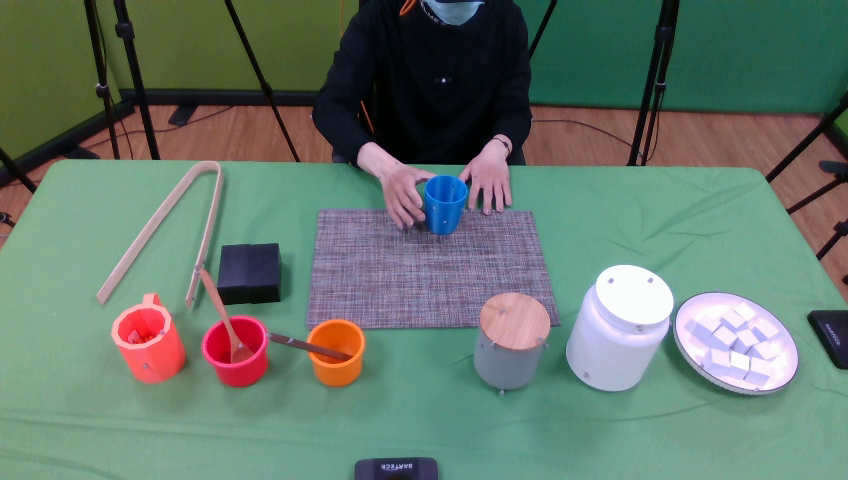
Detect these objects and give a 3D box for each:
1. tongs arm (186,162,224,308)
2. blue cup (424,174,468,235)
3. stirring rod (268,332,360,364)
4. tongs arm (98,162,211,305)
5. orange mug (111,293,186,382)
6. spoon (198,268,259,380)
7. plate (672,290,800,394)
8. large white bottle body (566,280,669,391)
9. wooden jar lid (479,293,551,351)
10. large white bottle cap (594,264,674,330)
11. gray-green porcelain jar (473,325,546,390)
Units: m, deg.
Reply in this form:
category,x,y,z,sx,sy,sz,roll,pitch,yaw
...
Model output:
category,x,y,z,sx,sy,sz,roll,pitch,yaw
tongs arm,-0.435,-0.025,1.181,0.051,0.027,0.382,-3,45,1
blue cup,0.039,-0.065,1.201,0.093,0.101,0.092,3,46,-3
stirring rod,-0.167,0.169,0.942,0.177,0.006,0.014,27,25,-41
tongs arm,-0.519,-0.027,1.184,0.028,0.028,0.385,5,45,13
orange mug,-0.435,0.149,0.969,0.083,0.101,0.125,-5,51,-9
spoon,-0.312,0.132,0.962,0.041,0.021,0.194,-24,96,-22
plate,0.533,0.178,1.050,0.208,0.039,0.206,2,46,-2
large white bottle body,0.310,0.142,0.968,0.131,0.185,0.130,2,46,-2
wooden jar lid,0.137,0.127,0.925,0.108,0.021,0.107,1,47,-1
large white bottle cap,0.314,0.083,0.906,0.115,0.018,0.114,2,46,-2
gray-green porcelain jar,0.135,0.170,0.969,0.106,0.127,0.105,2,46,-2
